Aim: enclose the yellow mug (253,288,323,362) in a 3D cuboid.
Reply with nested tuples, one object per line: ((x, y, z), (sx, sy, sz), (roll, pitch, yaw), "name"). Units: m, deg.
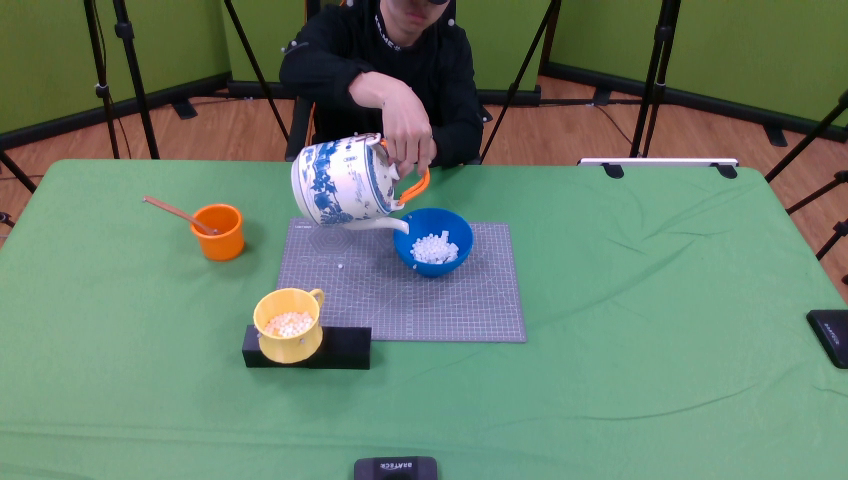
((-0.205, 0.124, 0.963), (0.099, 0.064, 0.130), (28, 48, 20), "yellow mug")

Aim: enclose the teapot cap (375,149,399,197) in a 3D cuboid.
((-0.065, -0.115, 1.038), (0.044, 0.085, 0.084), (-9, 45, 9), "teapot cap")

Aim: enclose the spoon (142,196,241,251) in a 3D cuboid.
((-0.421, -0.032, 1.108), (0.021, 0.195, 0.041), (-33, 39, 27), "spoon")

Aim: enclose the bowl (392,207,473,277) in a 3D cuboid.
((0.014, 0.016, 1.140), (0.151, 0.077, 0.150), (2, 47, -2), "bowl")

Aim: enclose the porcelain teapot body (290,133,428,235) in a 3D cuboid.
((-0.096, -0.087, 1.063), (0.225, 0.206, 0.144), (-11, 37, 11), "porcelain teapot body")
